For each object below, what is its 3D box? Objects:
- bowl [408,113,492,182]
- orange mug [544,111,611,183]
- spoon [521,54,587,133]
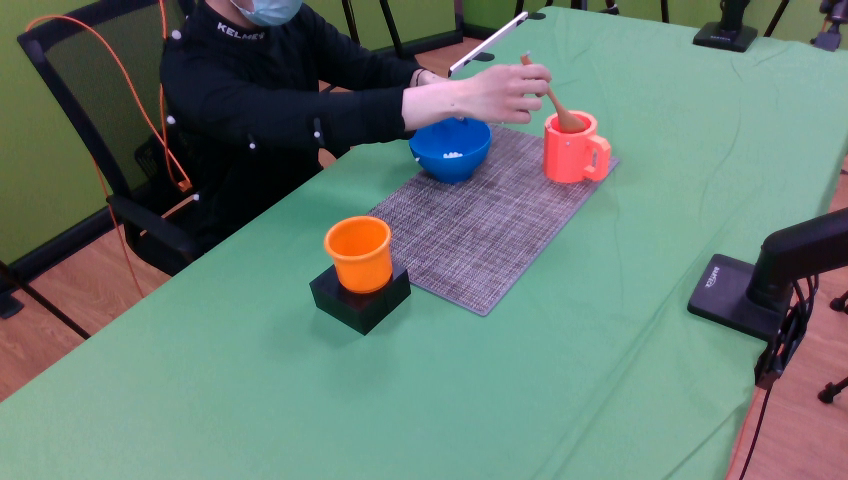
[{"bbox_3d":[0.049,-0.158,1.097,0.151,0.077,0.150,-4,41,4],"label":"bowl"},{"bbox_3d":[0.266,-0.157,1.049,0.084,0.101,0.125,-33,42,-27],"label":"orange mug"},{"bbox_3d":[0.207,-0.229,0.975,0.041,0.195,0.021,-14,45,38],"label":"spoon"}]
